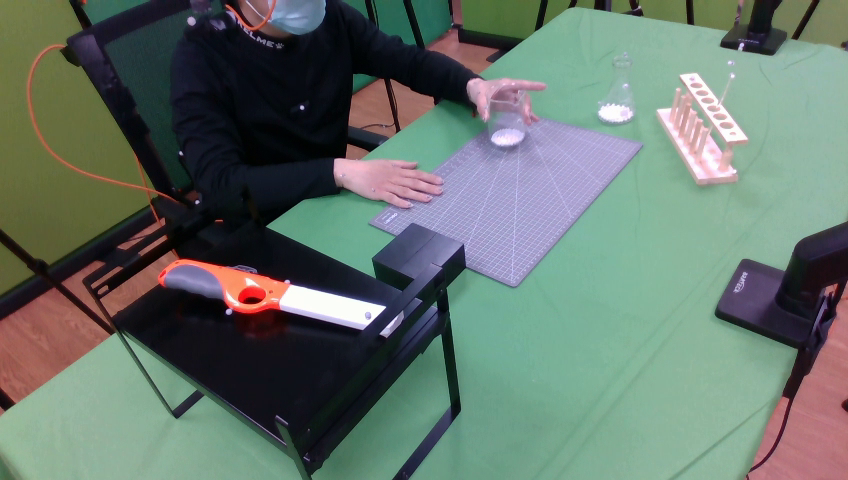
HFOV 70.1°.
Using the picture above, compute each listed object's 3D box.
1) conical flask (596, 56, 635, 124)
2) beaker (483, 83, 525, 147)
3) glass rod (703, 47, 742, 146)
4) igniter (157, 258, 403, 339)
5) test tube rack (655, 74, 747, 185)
[{"bbox_3d":[0.380,-0.294,1.185,0.075,0.122,0.075,-4,41,4],"label":"conical flask"},{"bbox_3d":[0.154,-0.231,1.135,0.074,0.101,0.083,-22,42,-14],"label":"beaker"},{"bbox_3d":[0.503,-0.237,1.027,0.008,0.200,0.008,-2,49,2],"label":"glass rod"},{"bbox_3d":[-0.157,0.059,0.638,0.275,0.025,0.057,11,43,14],"label":"igniter"},{"bbox_3d":[0.491,-0.205,1.092,0.067,0.085,0.241,-5,40,3],"label":"test tube rack"}]
